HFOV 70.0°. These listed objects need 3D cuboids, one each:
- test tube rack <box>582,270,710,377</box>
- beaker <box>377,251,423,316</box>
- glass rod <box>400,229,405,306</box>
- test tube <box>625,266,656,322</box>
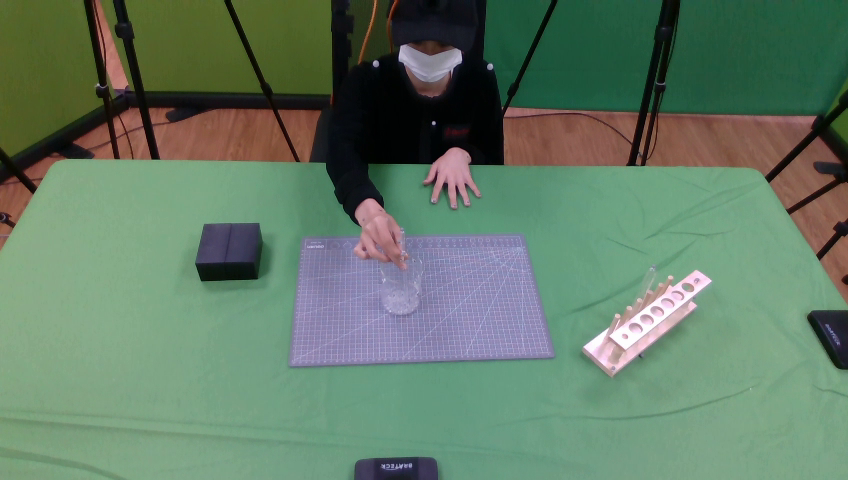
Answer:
[{"bbox_3d":[0.389,0.132,1.057,0.242,0.085,0.066,-28,53,-28],"label":"test tube rack"},{"bbox_3d":[-0.040,0.081,1.060,0.074,0.101,0.083,-32,57,-30],"label":"beaker"},{"bbox_3d":[-0.036,0.051,1.009,0.008,0.201,0.008,0,49,0],"label":"glass rod"},{"bbox_3d":[0.366,0.096,1.027,0.017,0.151,0.017,1,47,0],"label":"test tube"}]
